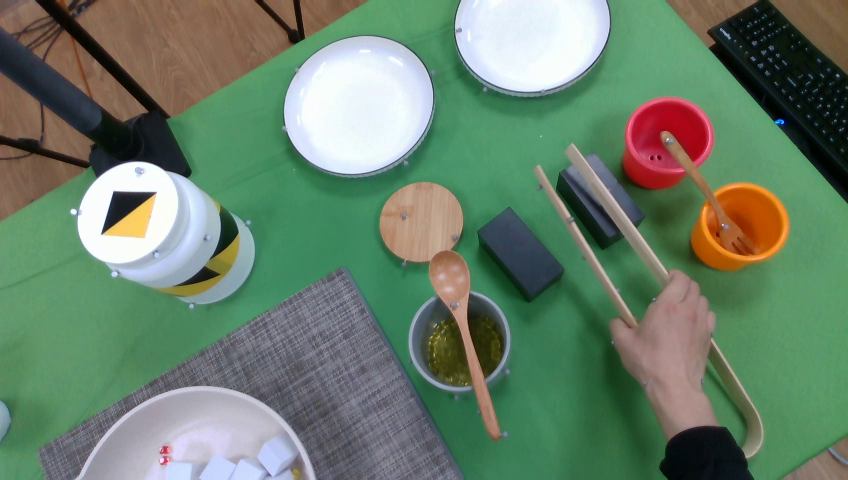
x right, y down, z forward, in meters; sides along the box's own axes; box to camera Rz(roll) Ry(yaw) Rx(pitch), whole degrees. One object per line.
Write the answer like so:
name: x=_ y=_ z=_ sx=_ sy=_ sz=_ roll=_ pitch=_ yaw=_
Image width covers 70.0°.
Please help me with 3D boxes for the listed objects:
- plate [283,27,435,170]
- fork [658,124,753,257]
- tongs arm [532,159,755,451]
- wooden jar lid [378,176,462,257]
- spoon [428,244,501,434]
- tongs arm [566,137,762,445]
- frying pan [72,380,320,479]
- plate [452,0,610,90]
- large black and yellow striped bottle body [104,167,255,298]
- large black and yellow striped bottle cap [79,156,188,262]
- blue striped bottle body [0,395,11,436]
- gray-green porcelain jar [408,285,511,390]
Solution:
plate: x=-0.087 y=-0.189 z=0.821 sx=0.207 sy=0.039 sz=0.206 roll=-2 pitch=75 yaw=8
fork: x=0.312 y=-0.052 z=0.670 sx=0.028 sy=0.018 sz=0.209 roll=-44 pitch=118 yaw=3
tongs arm: x=0.238 y=0.066 z=0.671 sx=0.051 sy=0.026 sz=0.383 roll=-29 pitch=85 yaw=-8
wooden jar lid: x=-0.004 y=-0.029 z=0.775 sx=0.108 sy=0.021 sz=0.108 roll=-2 pitch=76 yaw=7
spoon: x=0.043 y=0.097 z=0.605 sx=0.041 sy=0.022 sz=0.192 roll=-15 pitch=77 yaw=0
tongs arm: x=0.264 y=0.050 z=0.675 sx=0.028 sy=0.028 sz=0.386 roll=-30 pitch=85 yaw=-12
frying pan: x=-0.268 y=0.401 z=0.645 sx=0.306 sy=0.103 sz=0.485 roll=8 pitch=68 yaw=11
plate: x=0.143 y=-0.292 z=0.817 sx=0.209 sy=0.038 sz=0.208 roll=-2 pitch=74 yaw=8
large black and yellow striped bottle body: x=-0.298 y=-0.009 z=0.724 sx=0.130 sy=0.185 sz=0.130 roll=-2 pitch=74 yaw=8
large black and yellow striped bottle cap: x=-0.309 y=-0.034 z=0.644 sx=0.115 sy=0.019 sz=0.114 roll=-2 pitch=76 yaw=7
blue striped bottle body: x=-0.573 y=0.215 z=0.732 sx=0.063 sy=0.121 sz=0.062 roll=-2 pitch=74 yaw=8
gray-green porcelain jar: x=0.044 y=0.112 z=0.674 sx=0.106 sy=0.127 sz=0.105 roll=-2 pitch=74 yaw=7
